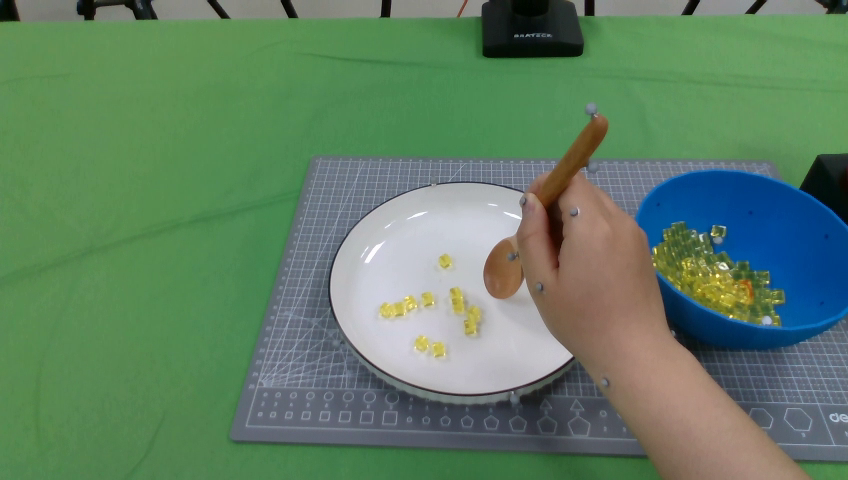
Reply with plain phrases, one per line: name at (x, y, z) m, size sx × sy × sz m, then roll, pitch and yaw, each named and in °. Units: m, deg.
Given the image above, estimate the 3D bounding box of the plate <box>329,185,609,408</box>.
plate at (0.033, 0.039, 0.468) m, size 0.207 × 0.039 × 0.205 m, roll -1°, pitch 47°, yaw 1°

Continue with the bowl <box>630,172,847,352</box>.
bowl at (0.221, 0.028, 0.443) m, size 0.151 × 0.077 × 0.150 m, roll -1°, pitch 47°, yaw 1°

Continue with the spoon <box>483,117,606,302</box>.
spoon at (0.068, -0.010, 0.380) m, size 0.022 × 0.195 × 0.041 m, roll -9°, pitch 64°, yaw -13°
